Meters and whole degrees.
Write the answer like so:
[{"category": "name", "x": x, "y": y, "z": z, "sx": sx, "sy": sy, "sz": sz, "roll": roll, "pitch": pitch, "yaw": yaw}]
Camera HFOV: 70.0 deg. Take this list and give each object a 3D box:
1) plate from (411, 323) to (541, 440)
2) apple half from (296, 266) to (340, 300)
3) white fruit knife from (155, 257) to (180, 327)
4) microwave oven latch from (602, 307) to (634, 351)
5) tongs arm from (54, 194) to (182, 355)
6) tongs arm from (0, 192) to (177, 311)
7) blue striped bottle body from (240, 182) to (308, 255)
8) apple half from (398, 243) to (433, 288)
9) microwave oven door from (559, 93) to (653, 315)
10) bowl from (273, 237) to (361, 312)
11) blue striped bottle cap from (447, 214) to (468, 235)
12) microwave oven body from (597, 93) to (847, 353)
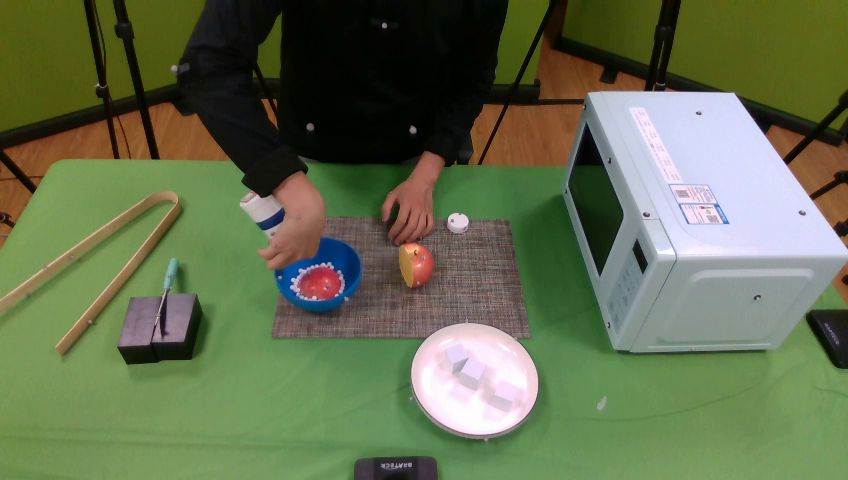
[{"category": "plate", "x": 0.082, "y": 0.228, "z": 0.976, "sx": 0.208, "sy": 0.039, "sz": 0.206, "roll": 2, "pitch": 45, "yaw": -2}, {"category": "apple half", "x": -0.186, "y": 0.070, "z": 1.067, "sx": 0.081, "sy": 0.033, "sz": 0.081, "roll": 2, "pitch": 49, "yaw": -3}, {"category": "white fruit knife", "x": -0.440, "y": 0.085, "z": 1.037, "sx": 0.016, "sy": 0.027, "sz": 0.206, "roll": 10, "pitch": 26, "yaw": -19}, {"category": "microwave oven latch", "x": 0.332, "y": 0.153, "z": 1.044, "sx": 0.030, "sy": 0.029, "sz": 0.078, "roll": -1, "pitch": 45, "yaw": -4}, {"category": "tongs arm", "x": -0.543, "y": 0.049, "z": 1.108, "sx": 0.028, "sy": 0.028, "sz": 0.385, "roll": 12, "pitch": 46, "yaw": 9}, {"category": "tongs arm", "x": -0.618, "y": 0.019, "z": 1.124, "sx": 0.050, "sy": 0.026, "sz": 0.384, "roll": 24, "pitch": 47, "yaw": 16}, {"category": "blue striped bottle body", "x": -0.245, "y": -0.032, "z": 1.011, "sx": 0.063, "sy": 0.121, "sz": 0.063, "roll": -28, "pitch": 26, "yaw": 15}, {"category": "apple half", "x": -0.011, "y": 0.046, "z": 1.115, "sx": 0.053, "sy": 0.075, "sz": 0.080, "roll": -10, "pitch": 44, "yaw": -19}, {"category": "microwave oven door", "x": 0.327, "y": -0.074, "z": 1.123, "sx": 0.039, "sy": 0.245, "sz": 0.353, "roll": -1, "pitch": 46, "yaw": -5}, {"category": "bowl", "x": -0.186, "y": 0.075, "z": 1.069, "sx": 0.151, "sy": 0.077, "sz": 0.150, "roll": 3, "pitch": 45, "yaw": -3}, {"category": "blue striped bottle cap", "x": 0.069, "y": -0.033, "z": 1.239, "sx": 0.044, "sy": 0.021, "sz": 0.044, "roll": 1, "pitch": 47, "yaw": -1}, {"category": "microwave oven body", "x": 0.475, "y": -0.041, "z": 1.109, "sx": 0.326, "sy": 0.261, "sz": 0.438, "roll": -1, "pitch": 45, "yaw": -4}]
